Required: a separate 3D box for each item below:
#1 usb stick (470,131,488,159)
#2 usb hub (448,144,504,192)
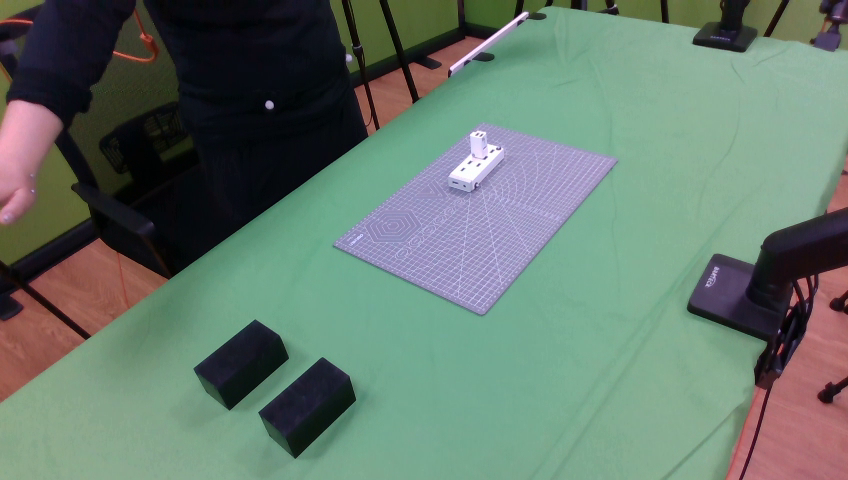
[{"bbox_3d":[0.100,-0.166,1.100,0.027,0.059,0.021,18,46,26],"label":"usb stick"},{"bbox_3d":[0.097,-0.133,1.105,0.049,0.025,0.125,20,48,28],"label":"usb hub"}]
